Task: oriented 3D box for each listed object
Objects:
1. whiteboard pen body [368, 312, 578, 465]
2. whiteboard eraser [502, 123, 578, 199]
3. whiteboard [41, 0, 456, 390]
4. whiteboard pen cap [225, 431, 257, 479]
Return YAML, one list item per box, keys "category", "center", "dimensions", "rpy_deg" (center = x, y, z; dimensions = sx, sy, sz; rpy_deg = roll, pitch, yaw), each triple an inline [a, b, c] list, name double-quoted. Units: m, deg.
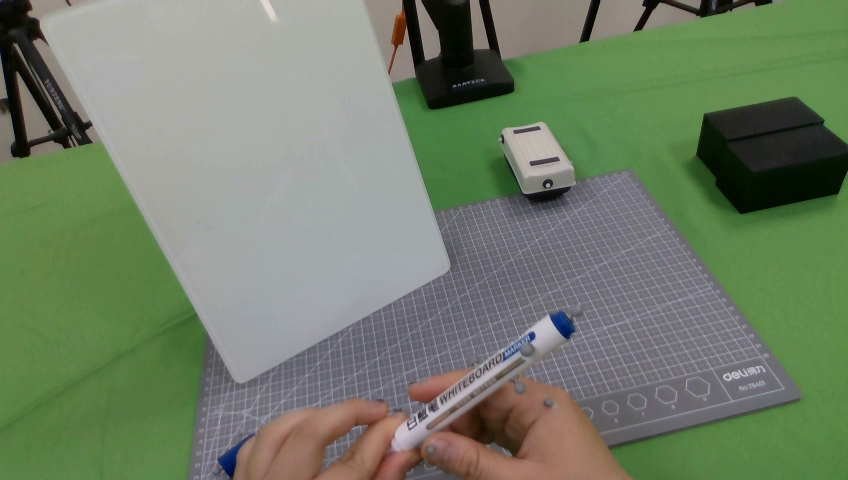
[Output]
- category: "whiteboard pen body"
  center: [0.021, 0.082, 0.319]
  dimensions: [0.141, 0.017, 0.017]
  rpy_deg: [-40, 39, 17]
- category: "whiteboard eraser"
  center: [0.123, -0.086, 0.655]
  dimensions: [0.055, 0.042, 0.111]
  rpy_deg: [-12, 38, 0]
- category: "whiteboard"
  center: [-0.135, -0.071, 0.533]
  dimensions: [0.217, 0.308, 0.142]
  rpy_deg: [-27, 25, -18]
- category: "whiteboard pen cap"
  center: [-0.135, 0.159, 0.446]
  dimensions: [0.018, 0.018, 0.033]
  rpy_deg: [-1, 60, 10]
